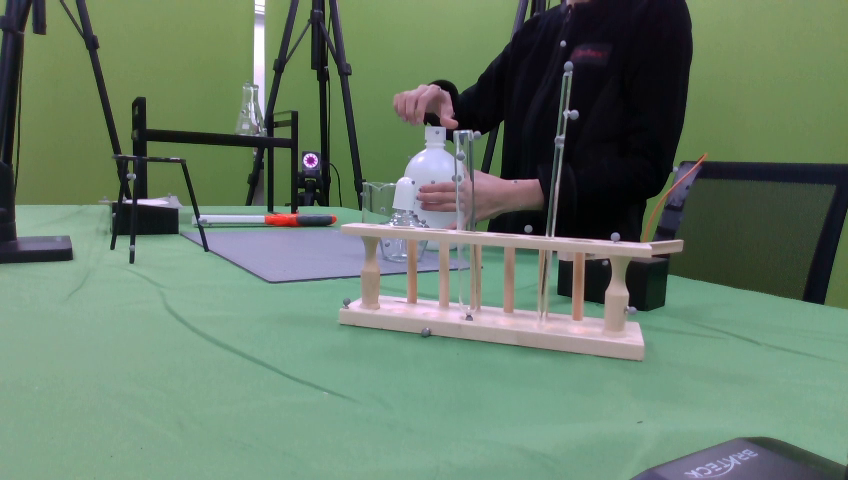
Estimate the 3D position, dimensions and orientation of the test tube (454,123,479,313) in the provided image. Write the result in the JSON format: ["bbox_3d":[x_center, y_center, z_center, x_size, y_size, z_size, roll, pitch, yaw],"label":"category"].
[{"bbox_3d":[0.034,-0.016,0.476,0.017,0.150,0.017,-2,9,1],"label":"test tube"}]

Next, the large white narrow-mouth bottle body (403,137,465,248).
[{"bbox_3d":[0.018,-0.088,1.001,0.102,0.194,0.102,1,8,0],"label":"large white narrow-mouth bottle body"}]

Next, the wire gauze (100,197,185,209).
[{"bbox_3d":[-0.469,-0.062,1.008,0.126,0.011,0.121,-2,8,-25],"label":"wire gauze"}]

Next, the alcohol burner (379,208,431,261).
[{"bbox_3d":[-0.027,-0.031,0.838,0.078,0.119,0.078,0,6,0],"label":"alcohol burner"}]

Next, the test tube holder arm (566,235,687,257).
[{"bbox_3d":[0.215,0.006,0.630,0.179,0.015,0.013,-3,9,-31],"label":"test tube holder arm"}]

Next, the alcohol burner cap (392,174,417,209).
[{"bbox_3d":[-0.025,-0.067,0.834,0.034,0.048,0.034,9,7,-1],"label":"alcohol burner cap"}]

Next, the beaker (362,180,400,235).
[{"bbox_3d":[-0.081,-0.062,1.142,0.074,0.100,0.084,2,8,1],"label":"beaker"}]

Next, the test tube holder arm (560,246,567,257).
[{"bbox_3d":[0.173,0.007,0.612,0.088,0.015,0.010,-3,9,-30],"label":"test tube holder arm"}]

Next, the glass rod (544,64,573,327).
[{"bbox_3d":[0.101,-0.028,0.453,0.008,0.199,0.008,1,14,0],"label":"glass rod"}]

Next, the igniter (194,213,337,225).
[{"bbox_3d":[-0.306,-0.042,1.196,0.278,0.025,0.057,-2,-2,-31],"label":"igniter"}]

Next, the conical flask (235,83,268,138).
[{"bbox_3d":[-0.401,-0.299,1.406,0.075,0.122,0.075,2,7,0],"label":"conical flask"}]

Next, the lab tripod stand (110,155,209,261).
[{"bbox_3d":[-0.361,-0.046,0.806,0.148,0.131,0.148,2,5,0],"label":"lab tripod stand"}]

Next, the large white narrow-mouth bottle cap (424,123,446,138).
[{"bbox_3d":[0.018,-0.179,0.988,0.038,0.024,0.037,1,8,0],"label":"large white narrow-mouth bottle cap"}]

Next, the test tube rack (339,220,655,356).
[{"bbox_3d":[0.056,0.032,0.495,0.242,0.085,0.067,4,7,15],"label":"test tube rack"}]
